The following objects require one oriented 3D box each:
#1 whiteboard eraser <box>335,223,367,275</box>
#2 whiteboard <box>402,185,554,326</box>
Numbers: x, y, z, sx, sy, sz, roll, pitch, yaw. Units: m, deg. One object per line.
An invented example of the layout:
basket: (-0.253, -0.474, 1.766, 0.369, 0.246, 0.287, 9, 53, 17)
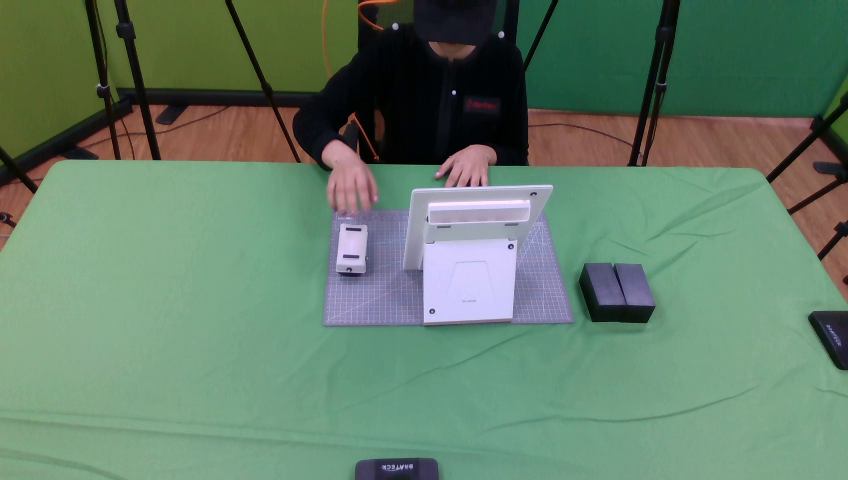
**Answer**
whiteboard eraser: (-0.138, 0.017, 1.154, 0.055, 0.042, 0.112, 1, 46, -3)
whiteboard: (0.081, 0.044, 1.005, 0.217, 0.306, 0.143, -1, 66, -6)
